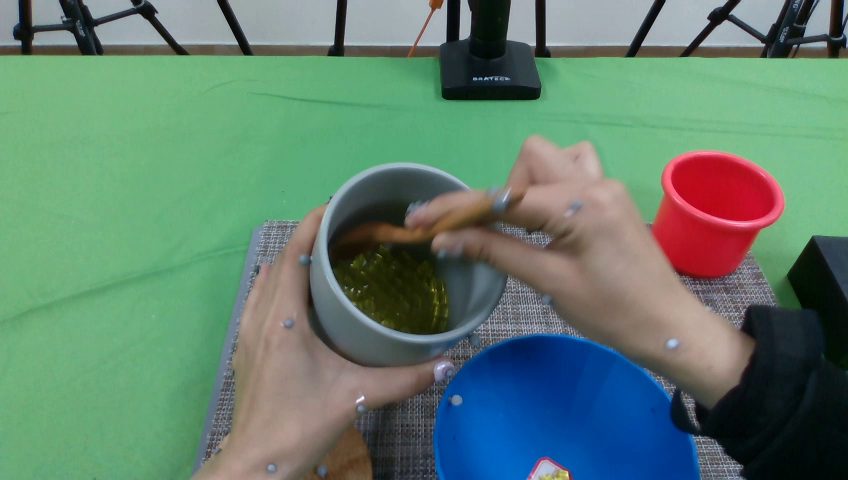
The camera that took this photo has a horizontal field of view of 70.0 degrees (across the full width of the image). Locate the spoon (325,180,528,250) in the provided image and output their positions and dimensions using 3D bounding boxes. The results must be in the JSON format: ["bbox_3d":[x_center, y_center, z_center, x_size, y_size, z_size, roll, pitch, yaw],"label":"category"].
[{"bbox_3d":[-0.008,-0.009,0.324,0.042,0.021,0.193,-6,1,-32],"label":"spoon"}]

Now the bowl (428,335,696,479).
[{"bbox_3d":[0.077,0.141,0.371,0.151,0.077,0.150,1,46,-1],"label":"bowl"}]

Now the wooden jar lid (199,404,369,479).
[{"bbox_3d":[-0.089,0.159,0.390,0.108,0.021,0.107,0,45,0],"label":"wooden jar lid"}]

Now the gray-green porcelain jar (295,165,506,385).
[{"bbox_3d":[-0.022,0.030,0.375,0.106,0.127,0.105,7,65,-16],"label":"gray-green porcelain jar"}]
